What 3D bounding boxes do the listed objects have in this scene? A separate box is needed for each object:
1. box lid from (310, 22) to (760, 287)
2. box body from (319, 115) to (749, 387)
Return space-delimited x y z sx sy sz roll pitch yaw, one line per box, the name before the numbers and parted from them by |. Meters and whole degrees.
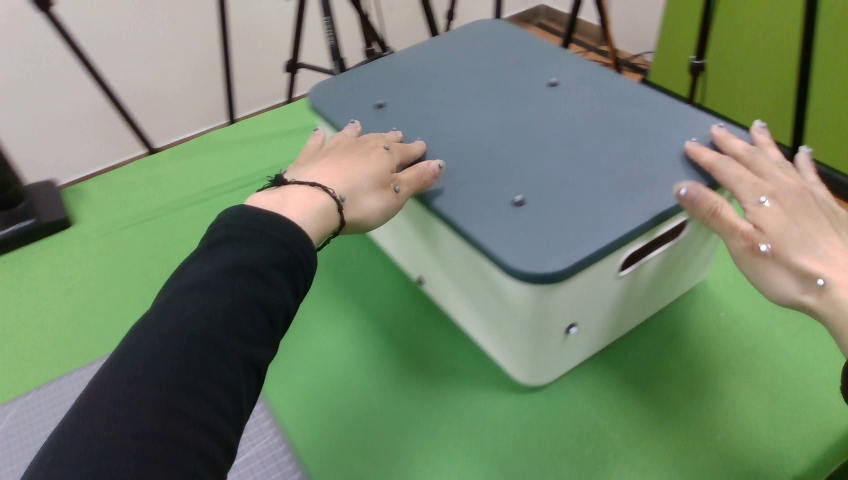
box lid | 0.080 -0.110 0.564 0.263 0.015 0.367 -28 46 -22
box body | 0.086 -0.057 0.615 0.254 0.162 0.360 -28 46 -22
